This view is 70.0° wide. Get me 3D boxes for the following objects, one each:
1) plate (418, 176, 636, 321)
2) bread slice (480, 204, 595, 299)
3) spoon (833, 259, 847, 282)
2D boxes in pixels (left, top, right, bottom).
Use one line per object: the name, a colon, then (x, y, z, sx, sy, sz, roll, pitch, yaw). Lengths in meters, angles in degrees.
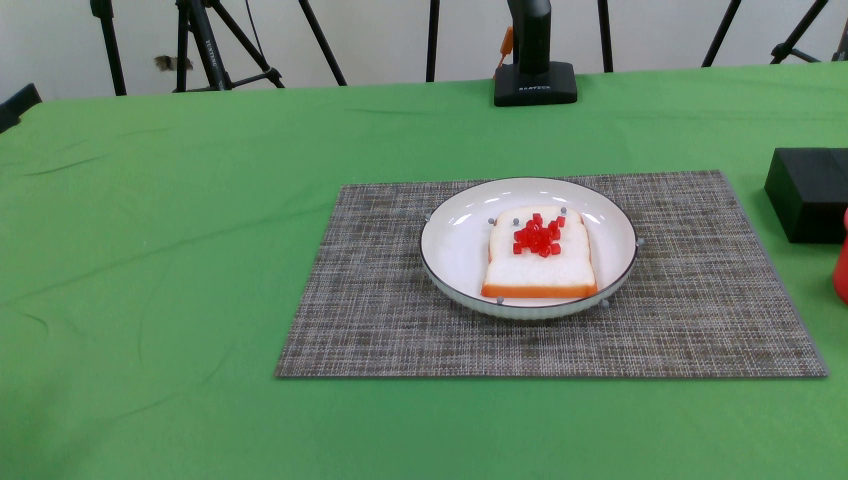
plate: (0.098, 0.007, 0.599, 0.209, 0.038, 0.207, -4, 38, 4)
bread slice: (0.111, 0.008, 0.599, 0.105, 0.019, 0.130, 1, 40, 8)
spoon: (0.432, -0.004, 0.479, 0.022, 0.194, 0.041, 47, 46, -7)
